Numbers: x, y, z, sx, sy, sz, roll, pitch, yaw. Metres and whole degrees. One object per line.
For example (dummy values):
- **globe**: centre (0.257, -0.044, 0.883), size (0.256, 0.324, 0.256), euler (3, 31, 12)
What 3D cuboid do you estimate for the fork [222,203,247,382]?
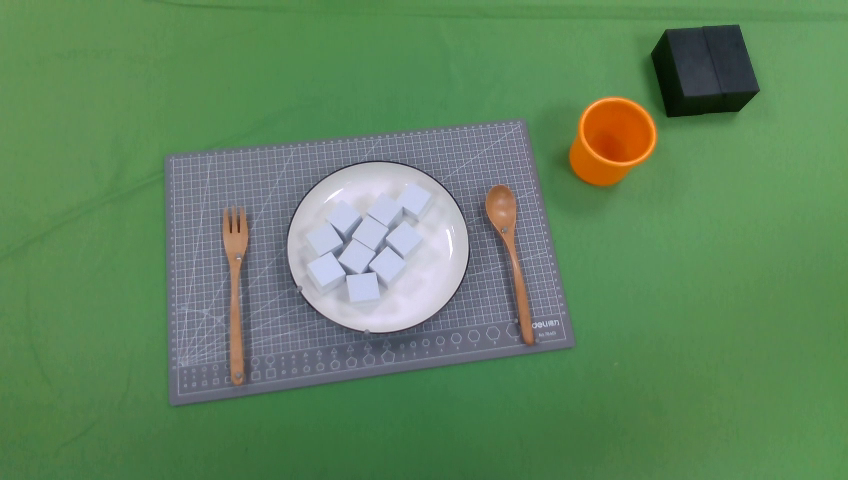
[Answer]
- **fork**: centre (-0.213, 0.055, 0.682), size (0.028, 0.019, 0.206), euler (-3, 70, -11)

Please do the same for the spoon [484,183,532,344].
- **spoon**: centre (0.103, 0.025, 0.709), size (0.042, 0.022, 0.192), euler (-2, 71, -22)

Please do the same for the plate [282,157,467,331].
- **plate**: centre (-0.056, 0.005, 0.698), size (0.208, 0.039, 0.206), euler (1, 72, -3)
